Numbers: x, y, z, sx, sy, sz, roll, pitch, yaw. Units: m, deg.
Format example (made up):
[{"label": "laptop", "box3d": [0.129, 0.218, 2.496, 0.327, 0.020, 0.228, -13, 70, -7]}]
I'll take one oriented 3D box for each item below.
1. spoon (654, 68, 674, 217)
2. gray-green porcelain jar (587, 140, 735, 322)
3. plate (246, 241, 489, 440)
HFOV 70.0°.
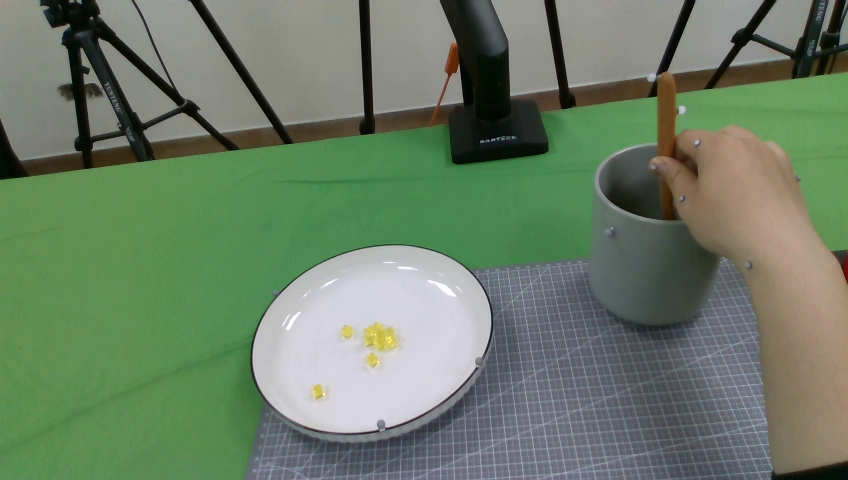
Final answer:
[{"label": "spoon", "box3d": [0.189, -0.040, 0.472, 0.041, 0.196, 0.021, 20, 52, 40]}, {"label": "gray-green porcelain jar", "box3d": [0.192, -0.003, 0.508, 0.106, 0.128, 0.105, -6, 42, 5]}, {"label": "plate", "box3d": [-0.046, 0.084, 0.526, 0.207, 0.039, 0.205, -5, 42, 5]}]
